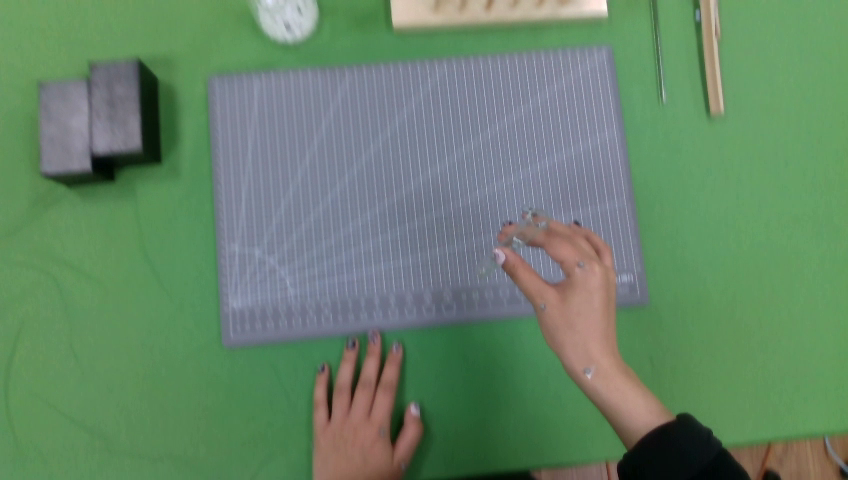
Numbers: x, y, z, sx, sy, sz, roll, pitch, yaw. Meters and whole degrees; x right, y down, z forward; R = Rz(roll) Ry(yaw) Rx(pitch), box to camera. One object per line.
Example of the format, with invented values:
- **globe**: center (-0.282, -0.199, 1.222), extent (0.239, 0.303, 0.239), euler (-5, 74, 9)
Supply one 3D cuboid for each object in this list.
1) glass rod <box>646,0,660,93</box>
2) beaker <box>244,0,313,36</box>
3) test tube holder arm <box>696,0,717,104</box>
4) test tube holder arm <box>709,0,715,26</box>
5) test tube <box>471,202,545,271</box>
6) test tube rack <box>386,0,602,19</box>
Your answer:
- **glass rod**: center (0.257, -0.263, 0.689), extent (0.008, 0.008, 0.199), euler (-1, 83, -3)
- **beaker**: center (-0.156, -0.262, 0.626), extent (0.074, 0.100, 0.083), euler (-3, 83, -3)
- **test tube holder arm**: center (0.317, -0.240, 0.681), extent (0.013, 0.015, 0.178), euler (5, 82, -31)
- **test tube holder arm**: center (0.322, -0.285, 0.690), extent (0.010, 0.015, 0.087), euler (5, 82, -31)
- **test tube**: center (0.068, 0.002, 0.518), extent (0.017, 0.150, 0.017), euler (4, 71, -12)
- **test tube rack**: center (0.078, -0.294, 0.647), extent (0.242, 0.085, 0.066), euler (-5, 83, -3)
